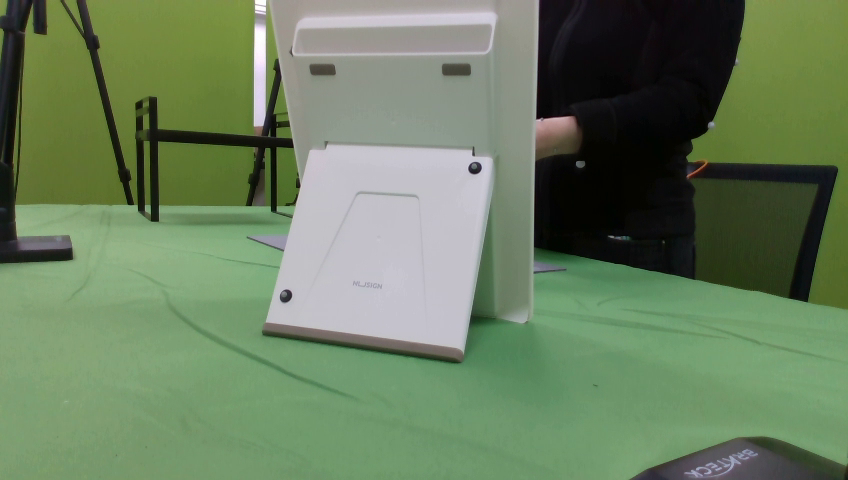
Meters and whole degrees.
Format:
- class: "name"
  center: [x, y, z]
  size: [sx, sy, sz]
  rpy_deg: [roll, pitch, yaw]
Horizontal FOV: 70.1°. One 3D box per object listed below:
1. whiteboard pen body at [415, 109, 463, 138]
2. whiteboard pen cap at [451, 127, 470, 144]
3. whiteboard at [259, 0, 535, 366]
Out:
- class: "whiteboard pen body"
  center: [0.022, -0.174, 0.909]
  size: [0.017, 0.017, 0.140]
  rpy_deg: [-2, 25, -29]
- class: "whiteboard pen cap"
  center: [0.051, -0.149, 0.862]
  size: [0.018, 0.018, 0.033]
  rpy_deg: [-2, 28, -27]
- class: "whiteboard"
  center: [-0.037, -0.040, 0.457]
  size: [0.216, 0.305, 0.144]
  rpy_deg: [5, 28, 19]
